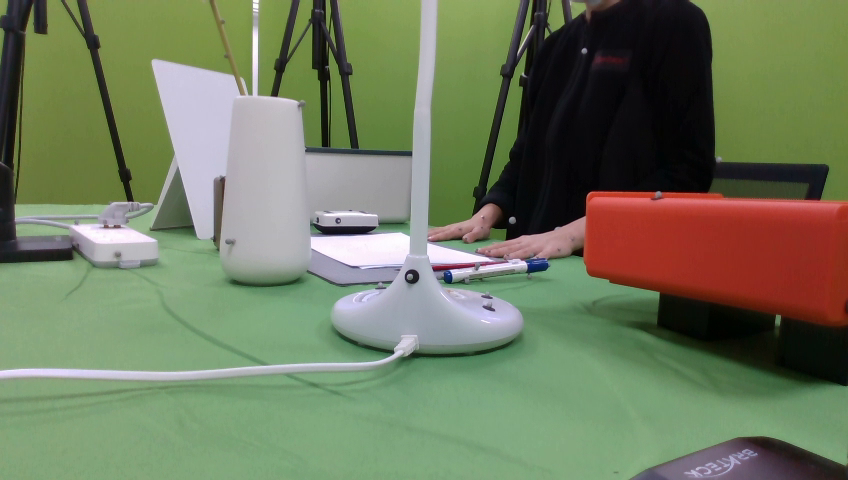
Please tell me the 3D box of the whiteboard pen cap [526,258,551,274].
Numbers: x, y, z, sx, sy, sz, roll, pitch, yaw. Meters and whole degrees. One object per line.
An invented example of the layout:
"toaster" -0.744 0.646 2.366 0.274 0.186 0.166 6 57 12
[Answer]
"whiteboard pen cap" 0.141 0.033 0.759 0.033 0.018 0.018 -8 11 -25

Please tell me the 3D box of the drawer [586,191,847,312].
"drawer" 0.281 0.001 0.513 0.195 0.073 0.210 -1 8 -29

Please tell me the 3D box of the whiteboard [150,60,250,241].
"whiteboard" -0.408 -0.139 1.093 0.143 0.305 0.218 -15 -1 26

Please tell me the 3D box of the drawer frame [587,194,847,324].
"drawer frame" 0.285 0.004 0.509 0.203 0.082 0.212 -1 6 -29

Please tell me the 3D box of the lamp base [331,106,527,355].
"lamp base" 0.006 -0.012 0.478 0.161 0.180 0.179 2 10 2

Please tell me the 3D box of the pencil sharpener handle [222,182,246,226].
"pencil sharpener handle" -0.289 -0.055 0.912 0.036 0.067 0.030 -3 9 -29

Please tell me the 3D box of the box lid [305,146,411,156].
"box lid" -0.229 -0.200 1.361 0.373 0.015 0.262 -3 9 -33

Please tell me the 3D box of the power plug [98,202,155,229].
"power plug" -0.416 -0.026 0.848 0.073 0.052 0.035 0 8 -28

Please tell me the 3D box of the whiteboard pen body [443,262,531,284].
"whiteboard pen body" 0.087 0.038 0.734 0.141 0.017 0.017 -5 10 -27

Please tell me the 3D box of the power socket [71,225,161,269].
"power socket" -0.408 0.004 0.793 0.072 0.032 0.225 -2 8 -38

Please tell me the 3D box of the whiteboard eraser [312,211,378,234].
"whiteboard eraser" -0.145 -0.033 1.118 0.113 0.042 0.055 -2 7 -32

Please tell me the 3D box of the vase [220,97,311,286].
"vase" -0.172 -0.052 0.662 0.098 0.200 0.098 3 9 0

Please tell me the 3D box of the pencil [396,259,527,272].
"pencil" 0.053 0.035 0.783 0.195 0.012 0.012 -2 9 -26

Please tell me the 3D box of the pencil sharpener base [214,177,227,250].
"pencil sharpener base" -0.265 -0.036 0.870 0.061 0.107 0.076 -2 8 -29

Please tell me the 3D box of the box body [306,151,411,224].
"box body" -0.230 -0.126 1.371 0.366 0.160 0.253 -2 8 -33

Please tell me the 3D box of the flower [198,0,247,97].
"flower" -0.187 -0.133 0.648 0.038 0.362 0.044 -1 22 43
